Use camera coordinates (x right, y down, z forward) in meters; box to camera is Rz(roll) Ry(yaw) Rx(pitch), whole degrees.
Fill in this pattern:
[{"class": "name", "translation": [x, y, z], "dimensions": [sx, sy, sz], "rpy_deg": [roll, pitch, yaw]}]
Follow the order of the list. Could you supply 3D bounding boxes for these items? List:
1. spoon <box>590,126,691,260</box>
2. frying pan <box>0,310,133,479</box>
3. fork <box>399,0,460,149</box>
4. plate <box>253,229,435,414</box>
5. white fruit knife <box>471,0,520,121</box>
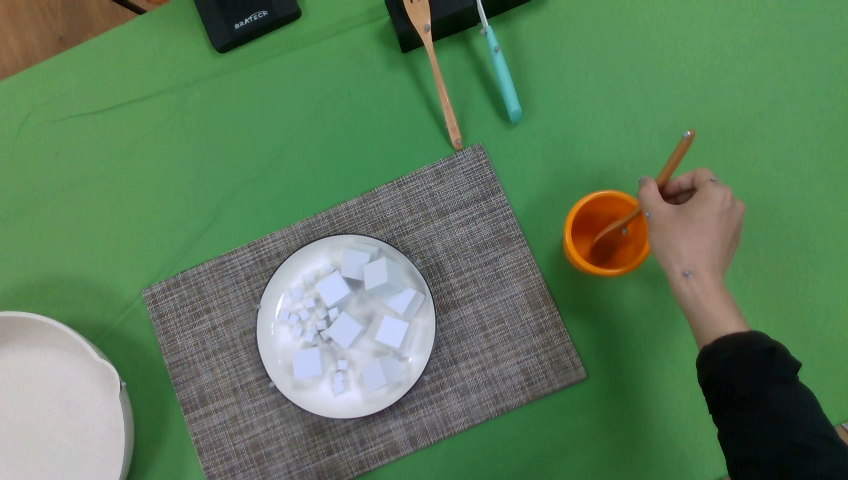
[{"class": "spoon", "translation": [0.222, -0.041, 0.626], "dimensions": [0.042, 0.195, 0.021], "rpy_deg": [-11, 59, -24]}, {"class": "frying pan", "translation": [-0.416, 0.312, 0.660], "dimensions": [0.307, 0.103, 0.484], "rpy_deg": [-31, 73, 0]}, {"class": "fork", "translation": [0.008, -0.207, 0.710], "dimensions": [0.028, 0.018, 0.208], "rpy_deg": [-19, 100, -4]}, {"class": "plate", "translation": [-0.090, 0.092, 0.695], "dimensions": [0.207, 0.039, 0.207], "rpy_deg": [-1, 83, 5]}, {"class": "white fruit knife", "translation": [0.072, -0.240, 0.708], "dimensions": [0.016, 0.027, 0.208], "rpy_deg": [-21, 96, 0]}]
